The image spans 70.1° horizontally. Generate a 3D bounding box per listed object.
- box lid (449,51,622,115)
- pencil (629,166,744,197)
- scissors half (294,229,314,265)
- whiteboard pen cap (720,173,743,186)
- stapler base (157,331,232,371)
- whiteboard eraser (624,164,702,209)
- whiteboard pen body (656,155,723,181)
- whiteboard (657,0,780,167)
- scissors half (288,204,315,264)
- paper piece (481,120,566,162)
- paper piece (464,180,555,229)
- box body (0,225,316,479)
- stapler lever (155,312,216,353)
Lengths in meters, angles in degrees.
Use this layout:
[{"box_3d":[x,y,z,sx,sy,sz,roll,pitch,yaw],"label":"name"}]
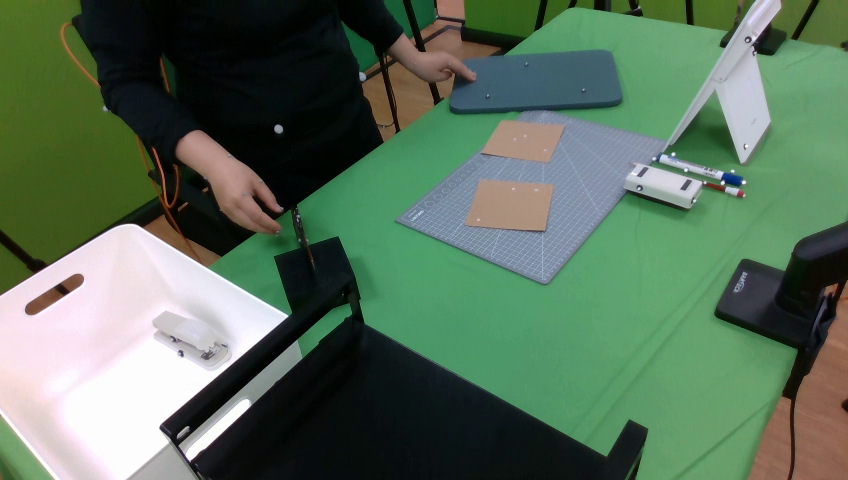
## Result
[{"box_3d":[0.250,-0.358,1.370,0.371,0.015,0.262,-1,40,9],"label":"box lid"},{"box_3d":[0.447,-0.103,1.038,0.192,0.012,0.012,21,48,29],"label":"pencil"},{"box_3d":[-0.188,0.007,0.955,0.013,0.040,0.174,-23,23,-11],"label":"scissors half"},{"box_3d":[0.519,-0.103,1.020,0.033,0.018,0.018,23,49,30],"label":"whiteboard pen cap"},{"box_3d":[-0.326,0.142,0.849,0.129,0.024,0.041,18,44,32],"label":"stapler base"},{"box_3d":[0.396,-0.086,1.003,0.112,0.042,0.056,22,47,31],"label":"whiteboard eraser"},{"box_3d":[0.475,-0.123,1.052,0.139,0.017,0.017,24,50,32],"label":"whiteboard pen body"},{"box_3d":[0.571,-0.272,1.038,0.143,0.306,0.218,37,54,17],"label":"whiteboard"},{"box_3d":[-0.191,-0.010,0.944,0.013,0.040,0.173,-18,39,-14],"label":"scissors half"},{"box_3d":[0.197,-0.199,1.188,0.135,0.004,0.135,11,44,21],"label":"paper piece"},{"box_3d":[0.149,-0.062,1.035,0.137,0.009,0.136,5,37,16],"label":"paper piece"},{"box_3d":[-0.339,0.162,0.728,0.361,0.161,0.255,23,48,31],"label":"box body"},{"box_3d":[-0.331,0.122,0.834,0.117,0.040,0.027,17,44,32],"label":"stapler lever"}]
